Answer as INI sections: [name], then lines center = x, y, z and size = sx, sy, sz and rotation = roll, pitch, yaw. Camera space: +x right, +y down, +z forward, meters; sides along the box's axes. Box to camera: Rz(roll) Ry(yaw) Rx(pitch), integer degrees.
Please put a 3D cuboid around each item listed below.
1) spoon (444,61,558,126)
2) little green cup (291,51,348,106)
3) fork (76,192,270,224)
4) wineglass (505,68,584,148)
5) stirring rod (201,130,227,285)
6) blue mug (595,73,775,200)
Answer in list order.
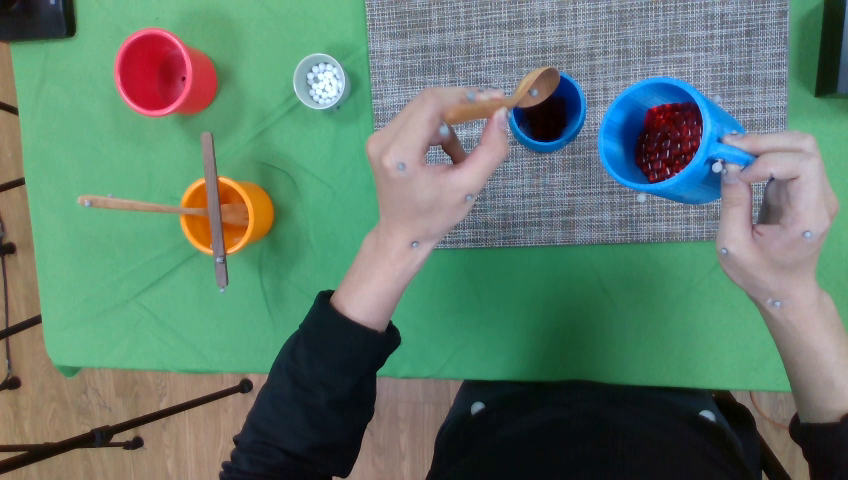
[spoon]
center = 0.061, -0.103, 0.434
size = 0.021, 0.193, 0.042
rotation = 44, 123, 3
[little green cup]
center = -0.118, -0.185, 0.704
size = 0.061, 0.038, 0.061
rotation = 1, 99, 10
[fork]
center = -0.280, -0.038, 0.696
size = 0.209, 0.018, 0.028
rotation = 4, 109, -35
[wineglass]
center = 0.118, -0.126, 0.599
size = 0.073, 0.172, 0.074
rotation = 1, 97, 10
[stirring rod]
center = -0.238, -0.036, 0.687
size = 0.014, 0.006, 0.176
rotation = -2, 97, 11
[blue mug]
center = 0.207, -0.071, 0.466
size = 0.115, 0.106, 0.082
rotation = 26, 105, 38
